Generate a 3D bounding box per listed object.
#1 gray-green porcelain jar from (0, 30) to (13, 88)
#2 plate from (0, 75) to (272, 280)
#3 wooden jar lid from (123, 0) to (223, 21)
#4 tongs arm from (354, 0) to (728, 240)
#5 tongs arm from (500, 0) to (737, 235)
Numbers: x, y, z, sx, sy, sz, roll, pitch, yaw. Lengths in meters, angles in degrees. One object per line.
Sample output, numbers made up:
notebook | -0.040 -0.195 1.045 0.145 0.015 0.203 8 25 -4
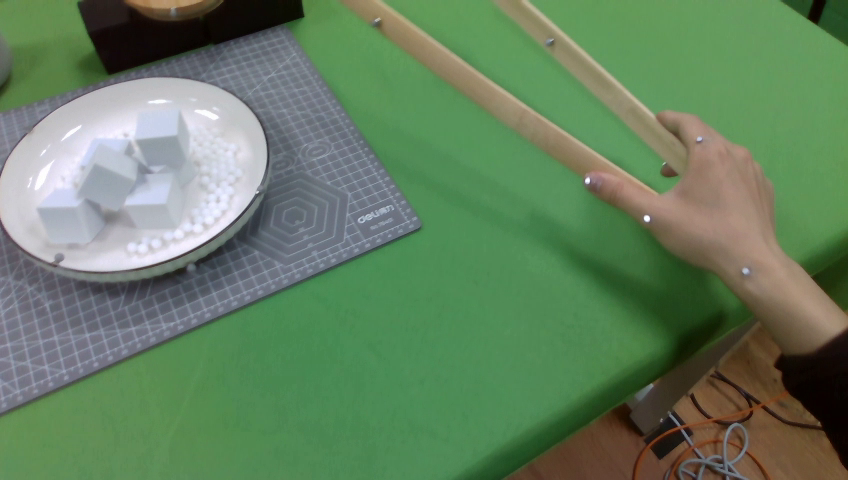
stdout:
gray-green porcelain jar | -0.442 -0.188 0.532 0.106 0.127 0.105 1 55 -1
plate | -0.228 -0.053 0.497 0.209 0.038 0.207 1 56 -1
wooden jar lid | -0.237 -0.248 0.583 0.108 0.021 0.107 2 57 -2
tongs arm | 0.067 -0.120 0.486 0.386 0.028 0.028 38 50 11
tongs arm | 0.121 -0.157 0.526 0.051 0.027 0.382 -30 69 -32
